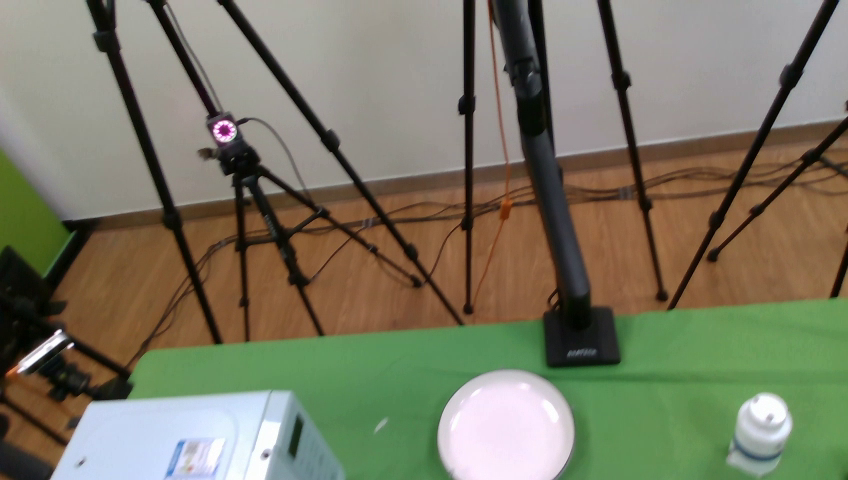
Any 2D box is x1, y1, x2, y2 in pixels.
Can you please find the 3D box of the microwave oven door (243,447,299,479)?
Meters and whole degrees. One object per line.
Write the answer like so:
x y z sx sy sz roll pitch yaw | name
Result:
-0.181 0.451 0.678 0.039 0.246 0.352 -7 44 11 | microwave oven door

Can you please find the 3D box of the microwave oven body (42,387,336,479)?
-0.320 0.441 0.738 0.325 0.263 0.437 -6 45 10 | microwave oven body

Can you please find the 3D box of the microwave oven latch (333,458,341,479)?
-0.143 0.368 0.901 0.030 0.030 0.078 -5 45 11 | microwave oven latch

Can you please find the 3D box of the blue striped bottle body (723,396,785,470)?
0.439 0.251 0.806 0.063 0.122 0.062 -9 44 9 | blue striped bottle body

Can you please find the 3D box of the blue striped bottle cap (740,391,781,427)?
0.429 0.215 0.771 0.044 0.021 0.044 -9 46 9 | blue striped bottle cap

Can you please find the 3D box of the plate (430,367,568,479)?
0.115 0.292 0.926 0.207 0.039 0.205 -8 44 8 | plate
